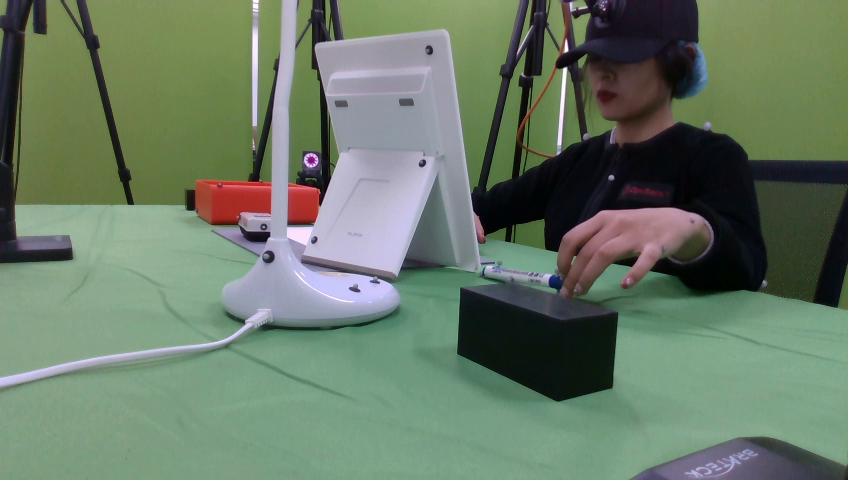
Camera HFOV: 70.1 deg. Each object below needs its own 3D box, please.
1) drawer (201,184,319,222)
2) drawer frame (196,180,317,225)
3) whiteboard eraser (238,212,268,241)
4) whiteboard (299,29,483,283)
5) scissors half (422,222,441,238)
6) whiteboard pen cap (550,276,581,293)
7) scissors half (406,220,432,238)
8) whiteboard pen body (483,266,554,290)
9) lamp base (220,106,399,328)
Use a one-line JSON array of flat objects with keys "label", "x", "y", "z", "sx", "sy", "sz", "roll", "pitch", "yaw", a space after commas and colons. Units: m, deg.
[{"label": "drawer", "x": -0.353, "y": -0.082, "z": 1.296, "sx": 0.213, "sy": 0.073, "sz": 0.193, "roll": -2, "pitch": 9, "yaw": -28}, {"label": "drawer frame", "x": -0.359, "y": -0.083, "z": 1.292, "sx": 0.215, "sy": 0.082, "sz": 0.200, "roll": -2, "pitch": 10, "yaw": -30}, {"label": "whiteboard eraser", "x": -0.272, "y": -0.024, "z": 0.998, "sx": 0.056, "sy": 0.042, "sz": 0.112, "roll": -2, "pitch": 8, "yaw": -24}, {"label": "whiteboard", "x": -0.074, "y": -0.082, "z": 0.742, "sx": 0.216, "sy": 0.305, "sz": 0.144, "roll": 9, "pitch": 29, "yaw": 38}, {"label": "scissors half", "x": 0.013, "y": -0.018, "z": 1.217, "sx": 0.040, "sy": 0.013, "sz": 0.175, "roll": 14, "pitch": 9, "yaw": 1}, {"label": "whiteboard pen cap", "x": 0.151, "y": 0.048, "z": 0.649, "sx": 0.018, "sy": 0.018, "sz": 0.033, "roll": -3, "pitch": 3, "yaw": -36}, {"label": "scissors half", "x": -0.006, "y": -0.021, "z": 1.214, "sx": 0.040, "sy": 0.013, "sz": 0.174, "roll": 6, "pitch": 10, "yaw": -15}, {"label": "whiteboard pen body", "x": 0.117, "y": 0.044, "z": 0.697, "sx": 0.017, "sy": 0.017, "sz": 0.140, "roll": -3, "pitch": 5, "yaw": -35}, {"label": "lamp base", "x": -0.101, "y": -0.023, "z": 0.531, "sx": 0.160, "sy": 0.180, "sz": 0.179, "roll": 4, "pitch": 10, "yaw": 10}]
